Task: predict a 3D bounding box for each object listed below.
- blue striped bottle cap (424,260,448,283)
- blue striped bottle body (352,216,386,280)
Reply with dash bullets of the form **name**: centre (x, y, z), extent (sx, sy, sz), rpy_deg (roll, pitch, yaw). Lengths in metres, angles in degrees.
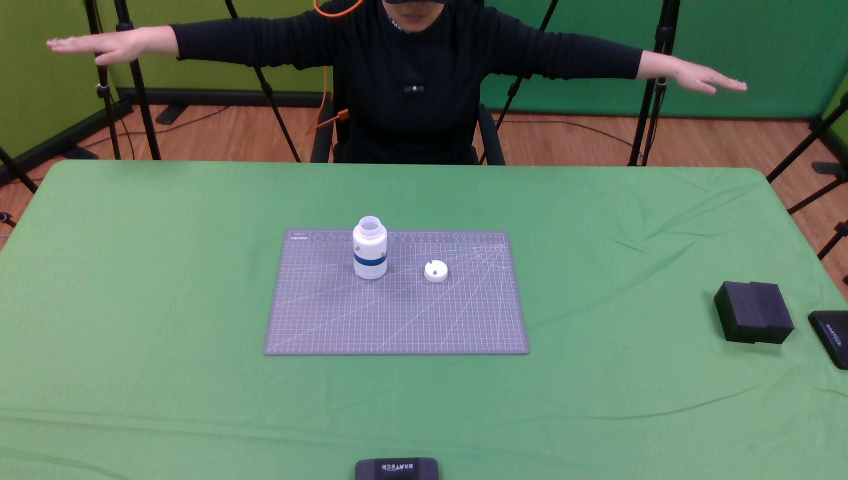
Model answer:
- **blue striped bottle cap**: centre (0.022, 0.059, 1.145), extent (0.044, 0.021, 0.044), rpy_deg (2, 47, -1)
- **blue striped bottle body**: centre (-0.100, 0.012, 1.107), extent (0.063, 0.121, 0.062), rpy_deg (2, 46, -2)
